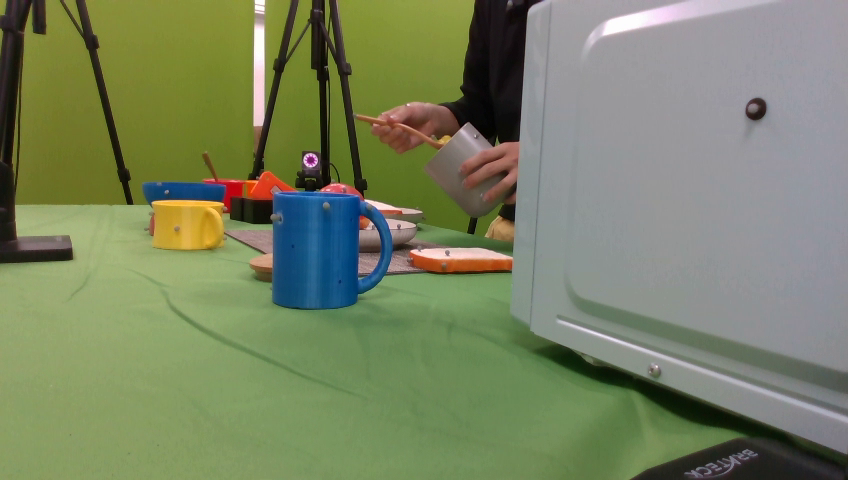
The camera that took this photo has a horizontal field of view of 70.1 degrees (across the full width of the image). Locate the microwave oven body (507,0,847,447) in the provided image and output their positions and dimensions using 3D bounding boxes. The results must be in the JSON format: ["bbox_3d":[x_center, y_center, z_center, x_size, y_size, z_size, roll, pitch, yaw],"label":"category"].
[{"bbox_3d":[0.331,-0.042,0.425,0.444,0.260,0.324,-2,8,-31],"label":"microwave oven body"}]

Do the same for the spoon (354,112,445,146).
[{"bbox_3d":[-0.025,-0.181,0.981,0.193,0.021,0.042,21,11,12],"label":"spoon"}]

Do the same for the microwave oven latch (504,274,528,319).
[{"bbox_3d":[0.100,0.041,0.471,0.079,0.029,0.030,-1,7,-27],"label":"microwave oven latch"}]

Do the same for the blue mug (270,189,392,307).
[{"bbox_3d":[-0.090,0.005,0.588,0.117,0.106,0.082,1,7,-11],"label":"blue mug"}]

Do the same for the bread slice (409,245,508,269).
[{"bbox_3d":[0.048,0.021,0.816,0.132,0.019,0.104,-1,7,-24],"label":"bread slice"}]

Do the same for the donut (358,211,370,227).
[{"bbox_3d":[-0.132,-0.042,0.959,0.099,0.048,0.099,3,7,0],"label":"donut"}]

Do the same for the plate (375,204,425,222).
[{"bbox_3d":[-0.102,-0.053,1.299,0.209,0.038,0.209,2,8,0],"label":"plate"}]

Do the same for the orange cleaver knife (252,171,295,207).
[{"bbox_3d":[-0.283,-0.087,1.343,0.212,0.077,0.012,24,-16,-41],"label":"orange cleaver knife"}]

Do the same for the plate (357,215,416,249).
[{"bbox_3d":[-0.116,-0.014,0.967,0.208,0.039,0.207,2,7,0],"label":"plate"}]

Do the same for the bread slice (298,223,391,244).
[{"bbox_3d":[-0.121,-0.013,0.971,0.106,0.018,0.135,9,12,41],"label":"bread slice"}]

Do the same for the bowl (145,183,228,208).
[{"bbox_3d":[-0.459,-0.069,1.175,0.151,0.077,0.151,3,7,0],"label":"bowl"}]

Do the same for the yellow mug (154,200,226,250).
[{"bbox_3d":[-0.337,-0.022,0.899,0.130,0.064,0.100,8,9,34],"label":"yellow mug"}]

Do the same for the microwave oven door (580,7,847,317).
[{"bbox_3d":[0.295,-0.067,0.570,0.358,0.243,0.039,-3,9,-31],"label":"microwave oven door"}]

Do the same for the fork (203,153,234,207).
[{"bbox_3d":[-0.480,-0.135,1.411,0.028,0.018,0.207,1,-34,-1],"label":"fork"}]

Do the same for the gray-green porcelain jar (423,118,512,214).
[{"bbox_3d":[0.079,-0.113,0.965,0.126,0.106,0.106,44,7,-4],"label":"gray-green porcelain jar"}]

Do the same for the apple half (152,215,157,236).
[{"bbox_3d":[-0.415,-0.034,1.017,0.081,0.053,0.074,1,10,-8],"label":"apple half"}]

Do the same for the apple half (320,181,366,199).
[{"bbox_3d":[-0.130,-0.077,0.952,0.081,0.033,0.081,3,15,-1],"label":"apple half"}]

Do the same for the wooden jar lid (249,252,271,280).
[{"bbox_3d":[-0.148,0.028,0.708,0.108,0.020,0.108,-1,10,0],"label":"wooden jar lid"}]
